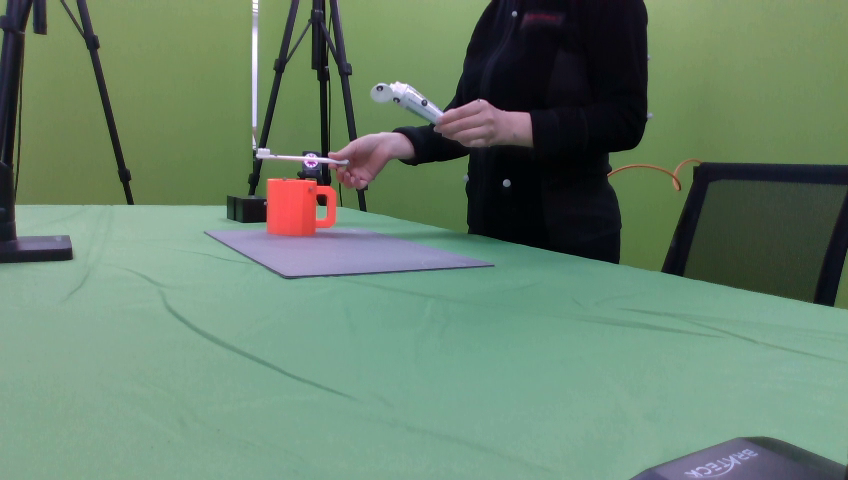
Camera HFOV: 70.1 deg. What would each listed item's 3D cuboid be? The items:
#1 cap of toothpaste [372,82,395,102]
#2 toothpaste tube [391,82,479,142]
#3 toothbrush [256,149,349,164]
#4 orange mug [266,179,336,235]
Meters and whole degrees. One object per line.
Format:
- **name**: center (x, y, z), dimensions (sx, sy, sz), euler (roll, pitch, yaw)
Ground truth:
- **cap of toothpaste**: center (-0.062, -0.226, 0.919), dimensions (0.037, 0.011, 0.037), euler (-9, -35, -6)
- **toothpaste tube**: center (0.015, -0.202, 0.962), dimensions (0.166, 0.034, 0.055), euler (27, 19, -18)
- **toothbrush**: center (-0.216, -0.149, 1.095), dimensions (0.183, 0.016, 0.014), euler (-1, 16, -38)
- **orange mug**: center (-0.222, -0.062, 1.094), dimensions (0.127, 0.101, 0.083), euler (-5, 10, -22)
